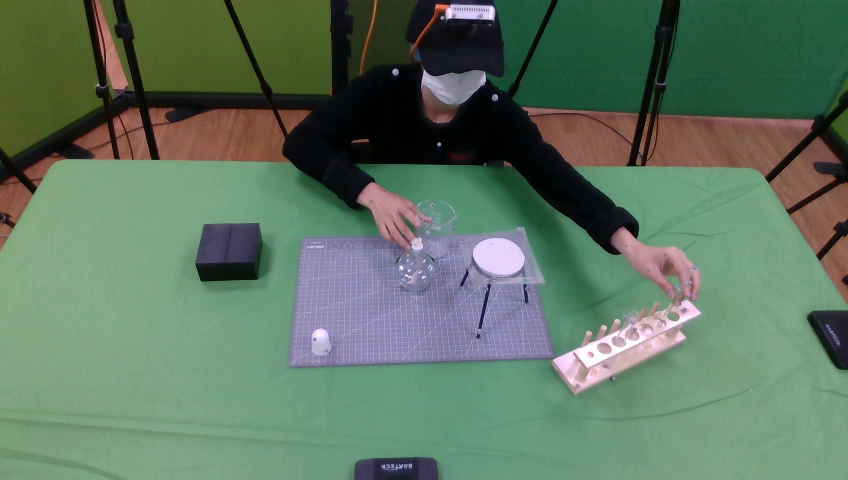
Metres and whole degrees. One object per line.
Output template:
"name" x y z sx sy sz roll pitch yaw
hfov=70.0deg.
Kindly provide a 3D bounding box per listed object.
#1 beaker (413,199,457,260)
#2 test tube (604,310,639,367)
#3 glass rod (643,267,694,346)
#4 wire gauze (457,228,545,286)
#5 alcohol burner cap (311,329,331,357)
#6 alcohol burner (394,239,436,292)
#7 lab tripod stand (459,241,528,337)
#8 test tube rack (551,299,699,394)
"beaker" 0.018 -0.018 1.160 0.084 0.101 0.073 4 46 -1
"test tube" 0.310 0.159 0.957 0.017 0.151 0.017 1 49 -1
"glass rod" 0.395 0.113 0.984 0.008 0.200 0.008 4 45 -4
"wire gauze" 0.126 0.029 1.006 0.125 0.011 0.120 -4 46 -10
"alcohol burner cap" -0.173 0.168 1.004 0.034 0.048 0.033 2 46 -2
"alcohol burner" -0.016 0.038 1.093 0.078 0.119 0.077 2 48 -2
"lab tripod stand" 0.122 0.075 1.054 0.148 0.132 0.147 3 44 -3
"test tube rack" 0.339 0.166 1.021 0.242 0.085 0.066 -19 50 -21
